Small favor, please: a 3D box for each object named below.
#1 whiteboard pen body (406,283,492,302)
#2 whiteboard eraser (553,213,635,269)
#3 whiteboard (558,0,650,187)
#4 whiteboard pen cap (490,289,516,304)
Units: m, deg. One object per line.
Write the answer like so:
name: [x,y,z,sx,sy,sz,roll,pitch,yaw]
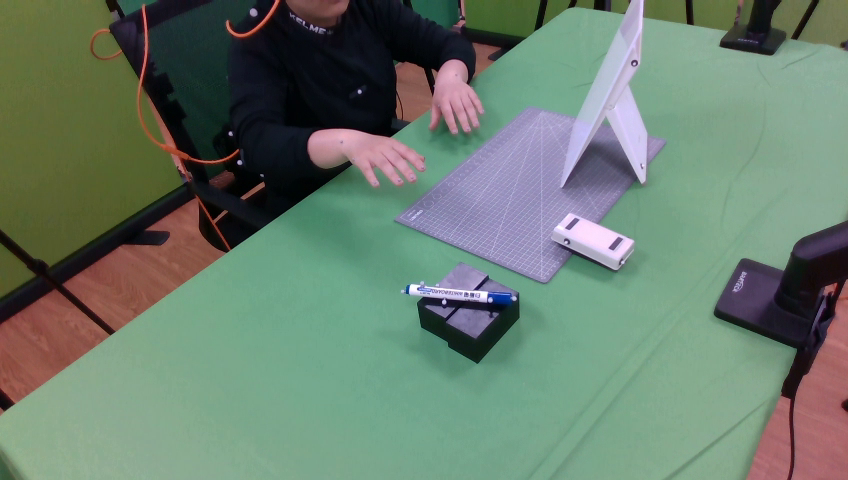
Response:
whiteboard pen body: [0.044,0.072,0.812,0.140,0.017,0.017,4,42,14]
whiteboard eraser: [0.257,0.003,0.918,0.112,0.042,0.056,27,49,30]
whiteboard: [0.361,-0.238,1.026,0.144,0.306,0.217,21,45,4]
whiteboard pen cap: [0.105,0.074,0.798,0.033,0.018,0.018,-8,37,-28]
